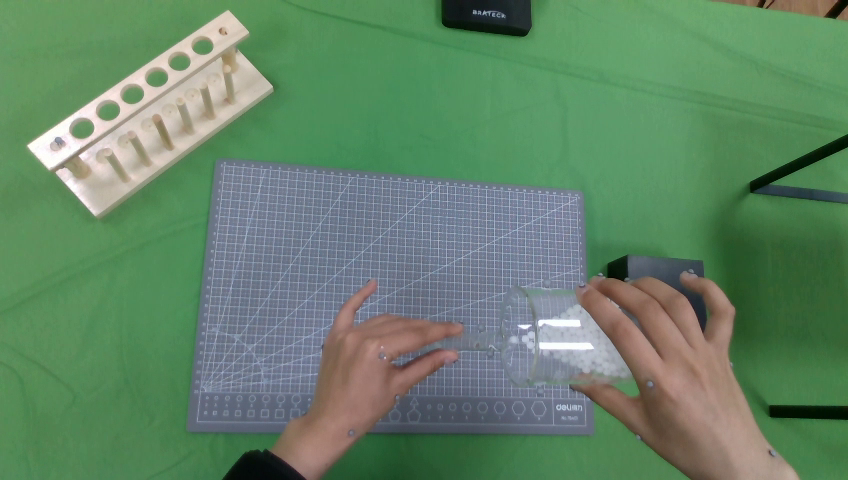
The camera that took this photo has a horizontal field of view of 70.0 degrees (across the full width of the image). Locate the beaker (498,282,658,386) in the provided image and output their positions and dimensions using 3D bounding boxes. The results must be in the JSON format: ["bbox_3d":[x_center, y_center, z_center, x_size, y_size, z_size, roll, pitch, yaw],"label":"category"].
[{"bbox_3d":[0.113,0.072,0.456,0.100,0.084,0.073,3,75,-13],"label":"beaker"}]

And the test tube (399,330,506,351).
[{"bbox_3d":[0.020,0.091,0.541,0.017,0.149,0.017,7,77,-33],"label":"test tube"}]

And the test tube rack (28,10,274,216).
[{"bbox_3d":[-0.279,-0.136,0.651,0.242,0.085,0.066,-42,87,-18],"label":"test tube rack"}]
